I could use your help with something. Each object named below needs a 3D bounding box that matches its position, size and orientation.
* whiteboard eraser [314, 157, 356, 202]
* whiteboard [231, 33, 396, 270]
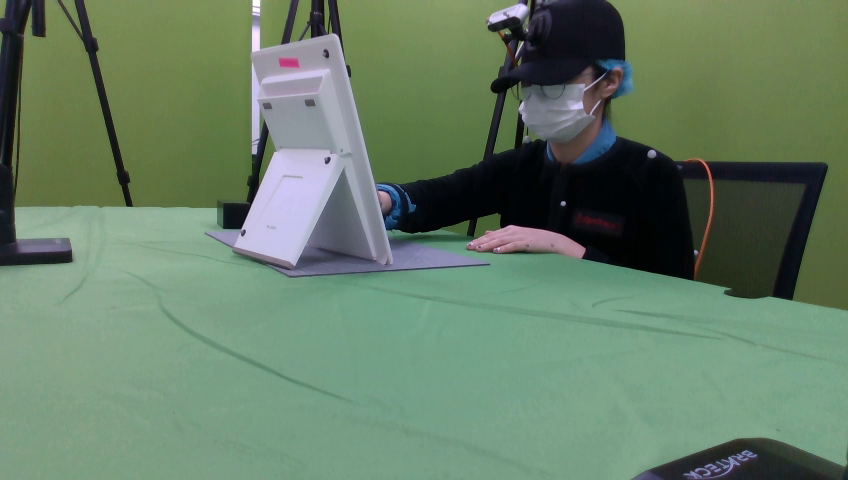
[{"bbox_3d":[-0.128,-0.085,0.859,0.019,0.041,0.101,-28,-1,-37],"label":"whiteboard eraser"},{"bbox_3d":[-0.193,-0.094,0.805,0.144,0.305,0.216,-29,25,-35],"label":"whiteboard"}]
